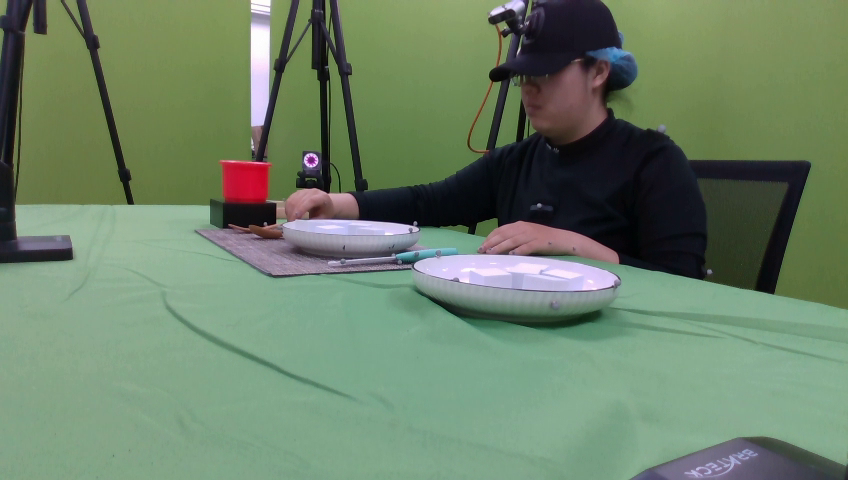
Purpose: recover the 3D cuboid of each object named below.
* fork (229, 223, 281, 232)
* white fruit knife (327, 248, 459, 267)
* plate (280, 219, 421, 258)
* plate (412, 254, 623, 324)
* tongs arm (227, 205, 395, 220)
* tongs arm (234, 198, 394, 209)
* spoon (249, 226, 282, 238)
[{"bbox_3d":[-0.244,-0.023,1.091,0.208,0.018,0.028,-3,4,-28],"label":"fork"},{"bbox_3d":[-0.034,0.026,0.807,0.208,0.016,0.027,-4,-19,-34],"label":"white fruit knife"},{"bbox_3d":[-0.108,-0.002,0.902,0.208,0.039,0.207,3,7,0],"label":"plate"},{"bbox_3d":[0.091,0.047,0.609,0.209,0.038,0.209,2,7,0],"label":"plate"},{"bbox_3d":[-0.247,-0.062,1.382,0.389,0.028,0.028,0,5,-21],"label":"tongs arm"},{"bbox_3d":[-0.263,-0.076,1.460,0.386,0.026,0.050,3,7,-8],"label":"tongs arm"},{"bbox_3d":[-0.198,-0.015,1.024,0.195,0.021,0.041,-2,-9,-30],"label":"spoon"}]
